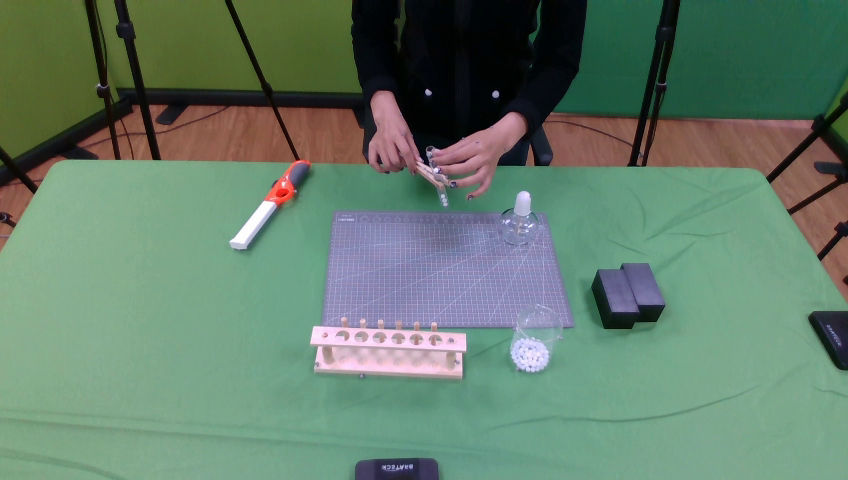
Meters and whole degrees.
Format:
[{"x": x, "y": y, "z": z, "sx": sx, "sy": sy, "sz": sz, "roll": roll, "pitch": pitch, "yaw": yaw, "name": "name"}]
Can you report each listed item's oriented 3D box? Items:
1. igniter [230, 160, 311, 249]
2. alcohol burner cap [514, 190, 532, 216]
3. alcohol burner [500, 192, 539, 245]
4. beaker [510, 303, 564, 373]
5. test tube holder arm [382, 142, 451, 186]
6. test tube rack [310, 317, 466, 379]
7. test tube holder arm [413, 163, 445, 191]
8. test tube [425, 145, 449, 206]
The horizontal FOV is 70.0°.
[{"x": -0.311, "y": -0.081, "z": 1.250, "sx": 0.057, "sy": 0.025, "sz": 0.275, "roll": 9, "pitch": 45, "yaw": 18, "name": "igniter"}, {"x": 0.192, "y": -0.075, "z": 1.165, "sx": 0.034, "sy": 0.048, "sz": 0.033, "roll": 1, "pitch": 41, "yaw": -1, "name": "alcohol burner cap"}, {"x": 0.190, "y": -0.048, "z": 1.190, "sx": 0.078, "sy": 0.120, "sz": 0.077, "roll": 1, "pitch": 47, "yaw": -1, "name": "alcohol burner"}, {"x": 0.182, "y": 0.164, "z": 1.000, "sx": 0.074, "sy": 0.101, "sz": 0.083, "roll": 2, "pitch": 46, "yaw": -1, "name": "beaker"}, {"x": -0.017, "y": -0.143, "z": 1.135, "sx": 0.013, "sy": 0.015, "sz": 0.177, "roll": -41, "pitch": 54, "yaw": -21, "name": "test tube holder arm"}, {"x": -0.056, "y": 0.171, "z": 0.986, "sx": 0.242, "sy": 0.085, "sz": 0.066, "roll": 3, "pitch": 45, "yaw": -1, "name": "test tube rack"}, {"x": 0.009, "y": -0.118, "z": 1.108, "sx": 0.010, "sy": 0.015, "sz": 0.087, "roll": -34, "pitch": 52, "yaw": -16, "name": "test tube holder arm"}, {"x": 0.025, "y": -0.113, "z": 1.090, "sx": 0.017, "sy": 0.151, "sz": 0.017, "roll": -8, "pitch": 51, "yaw": 10, "name": "test tube"}]
